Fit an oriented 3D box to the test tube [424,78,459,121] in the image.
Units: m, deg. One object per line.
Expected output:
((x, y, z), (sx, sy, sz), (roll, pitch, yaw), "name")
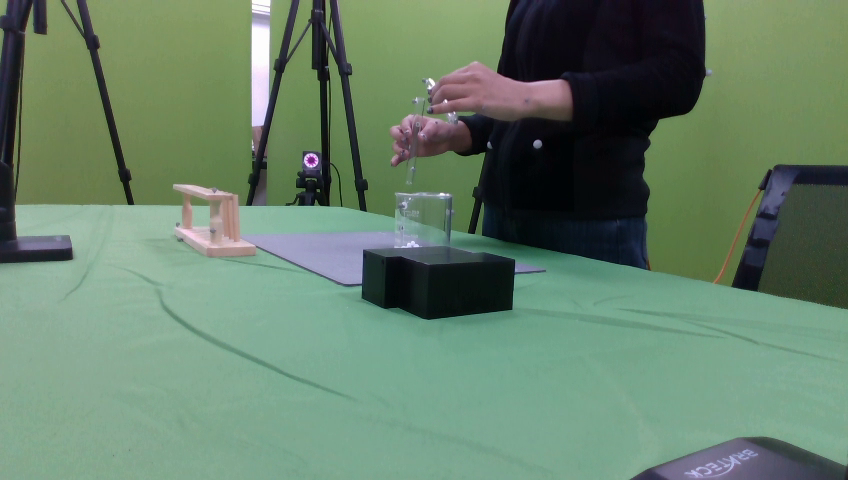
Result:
((0.026, -0.211, 0.903), (0.017, 0.017, 0.149), (0, 33, -17), "test tube")

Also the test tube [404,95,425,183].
((-0.016, -0.166, 1.007), (0.017, 0.150, 0.017), (8, 23, -3), "test tube")

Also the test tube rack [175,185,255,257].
((-0.324, -0.035, 0.922), (0.067, 0.085, 0.241), (-2, 9, -32), "test tube rack")

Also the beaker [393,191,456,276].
((-0.003, -0.010, 0.749), (0.074, 0.100, 0.083), (-3, 8, -40), "beaker")
